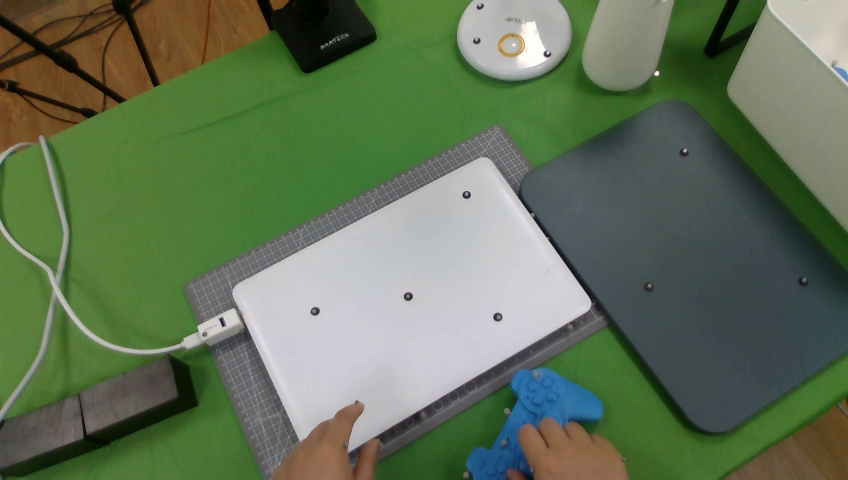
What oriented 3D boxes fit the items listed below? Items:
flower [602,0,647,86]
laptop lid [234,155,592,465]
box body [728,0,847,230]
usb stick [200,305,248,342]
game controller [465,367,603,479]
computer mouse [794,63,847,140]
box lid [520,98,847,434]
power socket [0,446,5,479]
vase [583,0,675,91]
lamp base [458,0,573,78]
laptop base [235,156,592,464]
[{"bbox_3d":[0.265,-0.318,0.666,0.038,0.364,0.043,-13,55,-20],"label":"flower"},{"bbox_3d":[-0.015,0.064,0.692,0.357,0.013,0.239,-27,70,-8],"label":"laptop lid"},{"bbox_3d":[0.564,-0.144,0.680,0.254,0.161,0.361,-26,67,-7],"label":"box body"},{"bbox_3d":[-0.221,0.092,0.691,0.059,0.027,0.021,-25,66,-13],"label":"usb stick"},{"bbox_3d":[0.111,0.203,0.619,0.096,0.052,0.154,28,70,21],"label":"game controller"},{"bbox_3d":[0.506,-0.178,0.759,0.062,0.041,0.116,6,62,10],"label":"computer mouse"},{"bbox_3d":[0.311,0.006,0.712,0.263,0.015,0.368,-29,68,-10],"label":"box lid"},{"bbox_3d":[-0.527,0.186,0.676,0.072,0.033,0.224,-26,66,-9],"label":"power socket"},{"bbox_3d":[0.253,-0.275,0.738,0.098,0.201,0.097,-2,65,5],"label":"vase"},{"bbox_3d":[0.123,-0.336,0.784,0.160,0.182,0.178,3,63,5],"label":"lamp base"},{"bbox_3d":[-0.016,0.066,0.703,0.354,0.023,0.234,-28,71,-9],"label":"laptop base"}]
